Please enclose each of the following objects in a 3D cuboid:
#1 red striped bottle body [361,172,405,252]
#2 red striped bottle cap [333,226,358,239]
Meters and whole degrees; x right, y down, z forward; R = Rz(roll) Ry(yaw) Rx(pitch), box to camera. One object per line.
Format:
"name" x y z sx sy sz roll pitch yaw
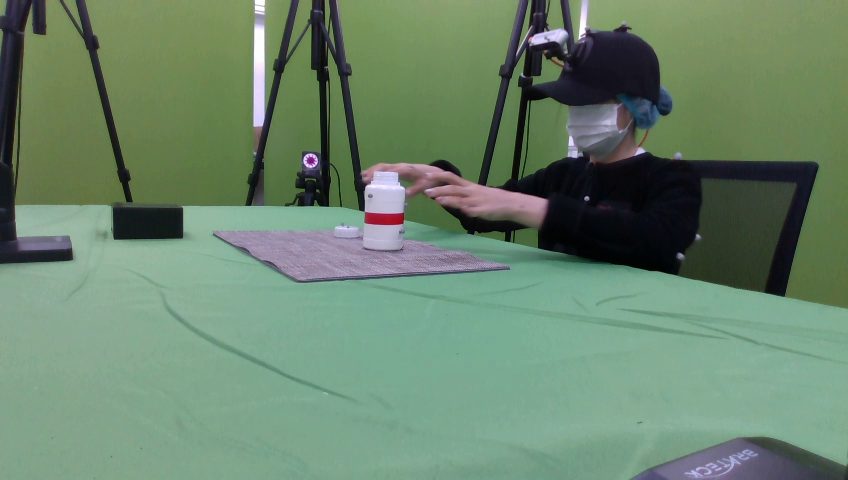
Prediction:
"red striped bottle body" -0.062 -0.045 0.933 0.063 0.119 0.063 4 8 0
"red striped bottle cap" -0.138 -0.013 1.069 0.044 0.017 0.044 0 9 0
